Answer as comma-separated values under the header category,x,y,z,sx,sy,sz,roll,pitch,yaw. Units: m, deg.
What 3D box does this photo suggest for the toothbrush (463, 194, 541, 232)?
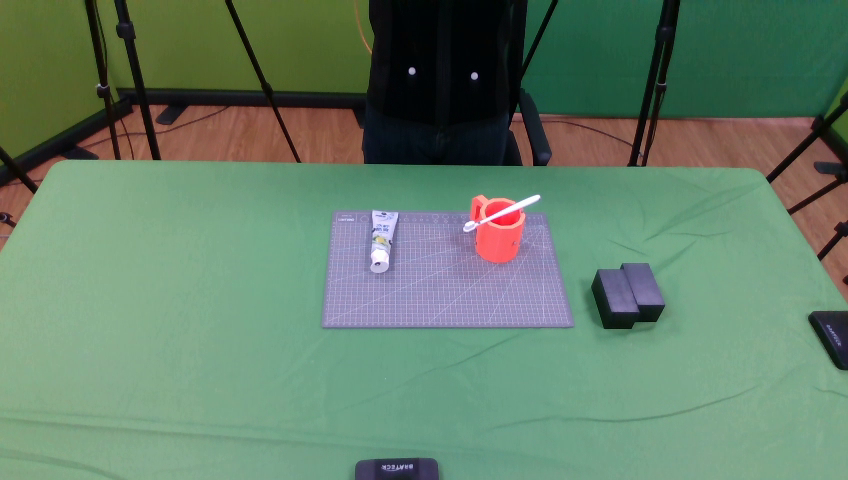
category,x,y,z,sx,sy,sz,roll,pitch,yaw
toothbrush,0.149,-0.054,1.131,0.182,0.017,0.014,-23,47,-24

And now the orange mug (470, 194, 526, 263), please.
category,x,y,z,sx,sy,sz,roll,pitch,yaw
orange mug,0.136,-0.030,1.180,0.083,0.101,0.125,-26,58,-26

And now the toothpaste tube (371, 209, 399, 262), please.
category,x,y,z,sx,sy,sz,roll,pitch,yaw
toothpaste tube,-0.081,-0.008,1.193,0.055,0.034,0.164,8,42,-6

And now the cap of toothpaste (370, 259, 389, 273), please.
category,x,y,z,sx,sy,sz,roll,pitch,yaw
cap of toothpaste,-0.083,0.047,1.132,0.037,0.037,0.011,-7,50,-9
